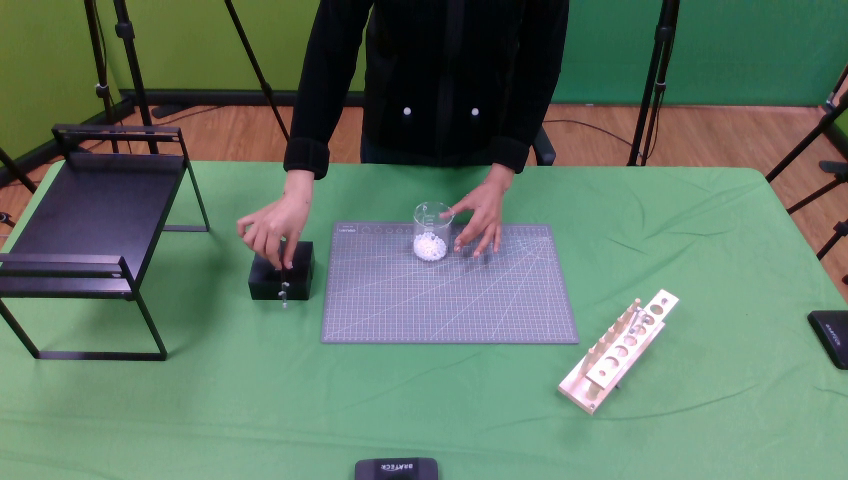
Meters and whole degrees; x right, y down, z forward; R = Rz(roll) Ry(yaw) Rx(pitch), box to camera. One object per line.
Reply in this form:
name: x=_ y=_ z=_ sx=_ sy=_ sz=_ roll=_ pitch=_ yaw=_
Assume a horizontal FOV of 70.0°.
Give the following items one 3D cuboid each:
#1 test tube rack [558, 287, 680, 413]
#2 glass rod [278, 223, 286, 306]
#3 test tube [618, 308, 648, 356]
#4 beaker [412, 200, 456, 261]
test tube rack: x=0.326 y=0.170 z=1.009 sx=0.066 sy=0.085 sz=0.242 roll=36 pitch=54 yaw=26
glass rod: x=-0.254 y=0.040 z=1.081 sx=0.008 sy=0.008 sz=0.198 roll=-7 pitch=46 yaw=-10
test tube: x=0.327 y=0.155 z=0.955 sx=0.017 sy=0.151 sz=0.017 roll=-1 pitch=50 yaw=1
beaker: x=0.017 y=-0.016 z=1.153 sx=0.084 sy=0.101 sz=0.073 roll=-12 pitch=49 yaw=-15
